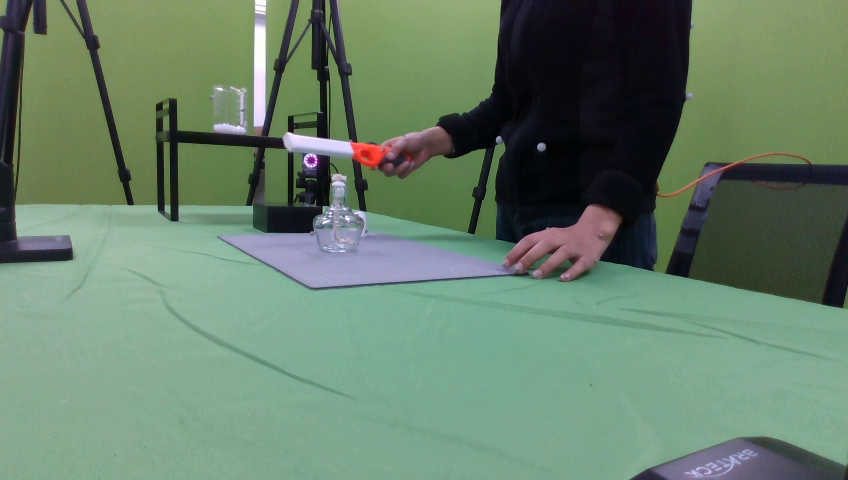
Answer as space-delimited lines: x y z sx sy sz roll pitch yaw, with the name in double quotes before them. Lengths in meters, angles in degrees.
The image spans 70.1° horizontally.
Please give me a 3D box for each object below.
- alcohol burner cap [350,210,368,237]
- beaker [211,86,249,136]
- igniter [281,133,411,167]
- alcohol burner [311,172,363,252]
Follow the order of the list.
"alcohol burner cap" -0.118 -0.030 1.095 0.034 0.048 0.034 1 8 0
"beaker" -0.413 -0.274 1.297 0.074 0.100 0.083 -5 11 -44
"igniter" -0.131 -0.161 1.098 0.278 0.057 0.025 0 -33 -45
"alcohol burner" -0.130 -0.042 0.906 0.078 0.119 0.078 2 6 0
